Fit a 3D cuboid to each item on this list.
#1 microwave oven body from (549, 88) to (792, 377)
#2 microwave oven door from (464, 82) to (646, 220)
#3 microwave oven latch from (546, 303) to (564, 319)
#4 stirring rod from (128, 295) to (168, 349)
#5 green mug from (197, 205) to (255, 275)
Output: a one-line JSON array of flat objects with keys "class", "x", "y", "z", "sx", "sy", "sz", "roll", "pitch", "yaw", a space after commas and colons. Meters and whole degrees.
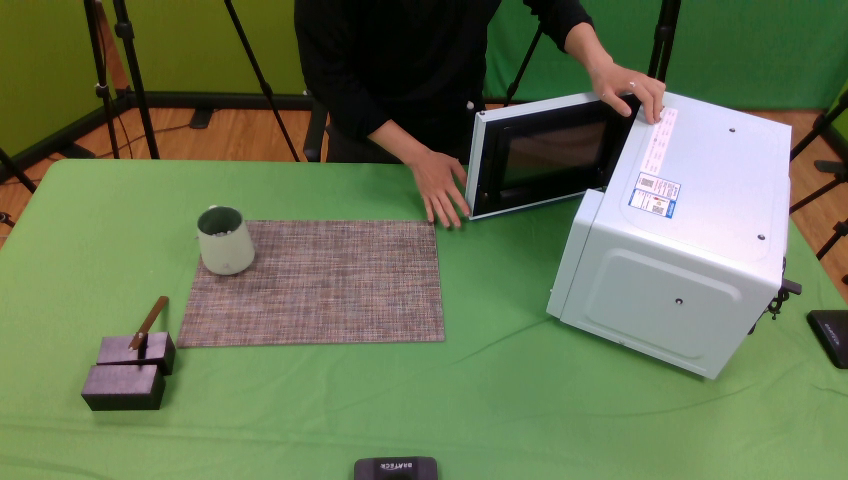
[{"class": "microwave oven body", "x": 0.456, "y": -0.028, "z": 1.088, "sx": 0.325, "sy": 0.261, "sz": 0.440, "roll": 20, "pitch": 47, "yaw": 16}, {"class": "microwave oven door", "x": 0.258, "y": -0.177, "z": 1.208, "sx": 0.356, "sy": 0.245, "sz": 0.039, "roll": -14, "pitch": 48, "yaw": -16}, {"class": "microwave oven latch", "x": 0.242, "y": 0.102, "z": 1.081, "sx": 0.030, "sy": 0.029, "sz": 0.079, "roll": 21, "pitch": 48, "yaw": 17}, {"class": "stirring rod", "x": -0.451, "y": 0.131, "z": 0.996, "sx": 0.014, "sy": 0.006, "sz": 0.175, "roll": 9, "pitch": 20, "yaw": -10}, {"class": "green mug", "x": -0.370, "y": -0.008, "z": 1.114, "sx": 0.092, "sy": 0.105, "sz": 0.124, "roll": -19, "pitch": 50, "yaw": -20}]
